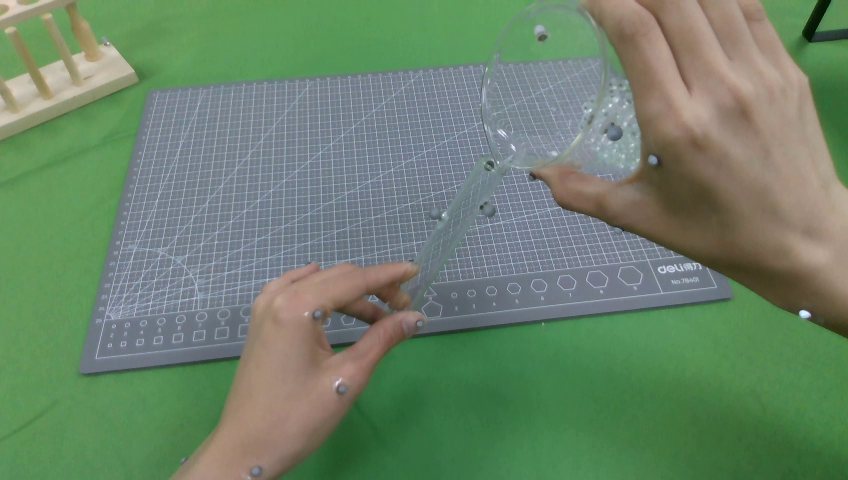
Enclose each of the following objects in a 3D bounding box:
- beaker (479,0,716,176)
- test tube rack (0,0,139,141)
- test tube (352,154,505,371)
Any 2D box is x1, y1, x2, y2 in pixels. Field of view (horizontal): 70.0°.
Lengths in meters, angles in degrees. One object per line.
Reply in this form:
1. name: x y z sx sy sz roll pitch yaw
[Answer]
1. beaker: 0.087 -0.067 0.299 0.101 0.084 0.073 -1 44 -36
2. test tube rack: -0.392 -0.139 0.527 0.242 0.086 0.066 -33 58 -23
3. test tube: -0.002 0.018 0.329 0.017 0.151 0.017 26 27 -14
